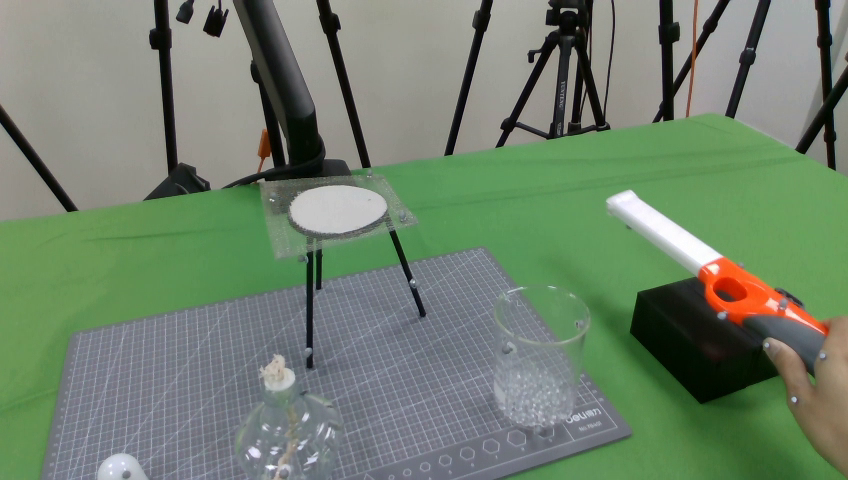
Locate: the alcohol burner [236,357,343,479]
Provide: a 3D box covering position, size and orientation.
[{"bbox_3d":[-0.099,0.127,0.436,0.078,0.120,0.077,0,35,0],"label":"alcohol burner"}]

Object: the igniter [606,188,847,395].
[{"bbox_3d":[0.253,0.028,0.522,0.057,0.025,0.273,-21,39,-13],"label":"igniter"}]

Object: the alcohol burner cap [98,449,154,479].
[{"bbox_3d":[-0.216,0.171,0.437,0.034,0.048,0.033,0,34,1],"label":"alcohol burner cap"}]

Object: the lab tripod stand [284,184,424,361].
[{"bbox_3d":[-0.074,0.023,0.578,0.148,0.132,0.147,0,31,0],"label":"lab tripod stand"}]

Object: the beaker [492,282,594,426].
[{"bbox_3d":[0.090,0.094,0.496,0.074,0.101,0.083,-22,38,-29],"label":"beaker"}]

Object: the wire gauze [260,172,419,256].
[{"bbox_3d":[-0.079,-0.031,0.537,0.122,0.011,0.123,-10,34,-16],"label":"wire gauze"}]
